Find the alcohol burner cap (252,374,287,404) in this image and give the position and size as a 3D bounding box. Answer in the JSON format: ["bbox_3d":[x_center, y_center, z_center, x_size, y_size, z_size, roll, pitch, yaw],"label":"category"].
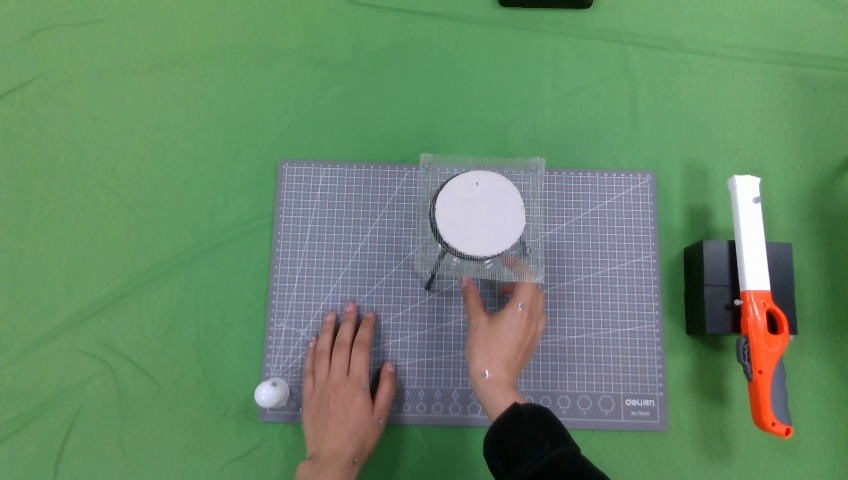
[{"bbox_3d":[-0.168,0.160,0.648,0.034,0.048,0.033,1,77,-2],"label":"alcohol burner cap"}]

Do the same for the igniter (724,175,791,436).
[{"bbox_3d":[0.351,0.064,0.642,0.057,0.025,0.275,1,77,-5],"label":"igniter"}]

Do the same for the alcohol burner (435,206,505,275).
[{"bbox_3d":[0.050,-0.002,0.648,0.078,0.119,0.077,0,79,1],"label":"alcohol burner"}]

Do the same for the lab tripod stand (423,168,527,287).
[{"bbox_3d":[0.045,-0.016,0.640,0.148,0.132,0.147,0,79,1],"label":"lab tripod stand"}]

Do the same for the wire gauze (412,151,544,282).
[{"bbox_3d":[0.053,-0.025,0.574,0.125,0.011,0.121,4,79,0],"label":"wire gauze"}]
